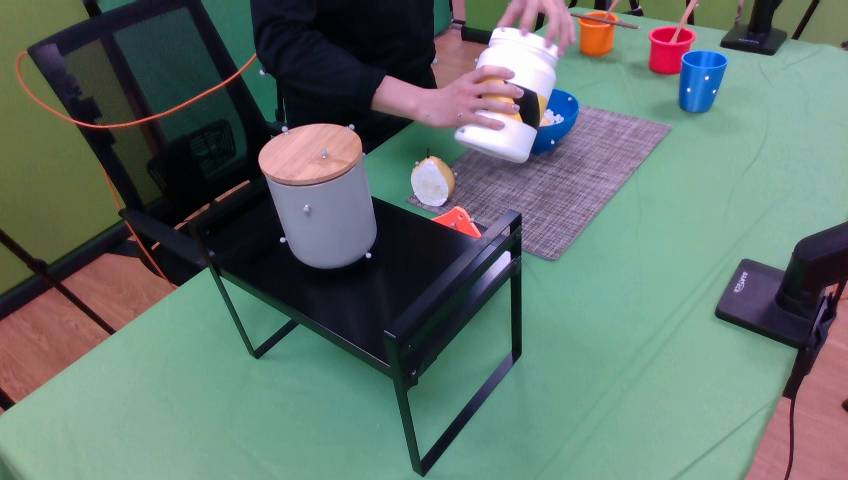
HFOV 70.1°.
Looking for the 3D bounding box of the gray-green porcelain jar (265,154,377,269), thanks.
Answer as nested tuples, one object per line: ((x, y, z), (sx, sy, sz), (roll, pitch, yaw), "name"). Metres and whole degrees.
((-0.112, -0.039, 0.685), (0.106, 0.127, 0.105), (-4, 40, 4), "gray-green porcelain jar")

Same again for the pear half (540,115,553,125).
((0.212, -0.227, 1.152), (0.088, 0.031, 0.070), (7, 44, 10), "pear half")

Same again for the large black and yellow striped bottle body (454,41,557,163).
((0.137, -0.232, 0.991), (0.131, 0.184, 0.130), (19, 7, -2), "large black and yellow striped bottle body")

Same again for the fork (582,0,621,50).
((0.446, -0.539, 1.438), (0.207, 0.019, 0.028), (-57, 36, 12), "fork")

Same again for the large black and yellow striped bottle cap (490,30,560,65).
((0.164, -0.311, 0.981), (0.115, 0.019, 0.115), (18, 7, -2), "large black and yellow striped bottle cap")

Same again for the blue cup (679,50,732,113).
((0.546, -0.309, 1.194), (0.092, 0.100, 0.092), (-4, 39, 4), "blue cup")

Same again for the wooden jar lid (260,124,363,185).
((-0.119, -0.088, 0.645), (0.108, 0.021, 0.108), (-4, 40, 4), "wooden jar lid")

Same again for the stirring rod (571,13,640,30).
((0.419, -0.508, 1.404), (0.174, 0.006, 0.014), (28, 54, 35), "stirring rod")

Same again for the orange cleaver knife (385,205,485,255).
((0.012, -0.010, 0.942), (0.012, 0.077, 0.210), (-36, 19, -35), "orange cleaver knife")

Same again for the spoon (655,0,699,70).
((0.567, -0.463, 1.337), (0.041, 0.022, 0.193), (30, 96, 38), "spoon")

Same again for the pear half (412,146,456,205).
((0.019, -0.120, 1.042), (0.076, 0.110, 0.056), (11, 43, 16), "pear half")

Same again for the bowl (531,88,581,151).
((0.221, -0.223, 1.155), (0.151, 0.077, 0.150), (-4, 40, 4), "bowl")
